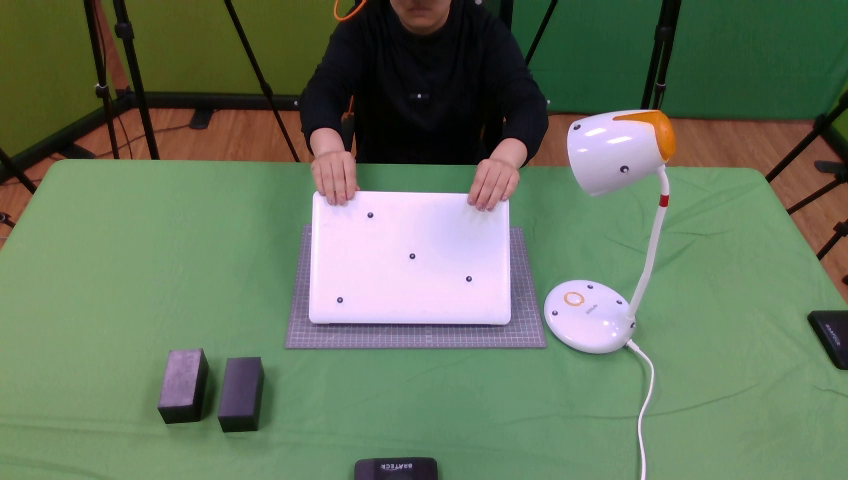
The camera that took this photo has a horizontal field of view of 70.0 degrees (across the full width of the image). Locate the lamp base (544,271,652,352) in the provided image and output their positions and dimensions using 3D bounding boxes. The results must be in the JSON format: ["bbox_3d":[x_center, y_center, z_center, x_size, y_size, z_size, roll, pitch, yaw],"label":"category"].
[{"bbox_3d":[0.310,0.086,1.029,0.178,0.181,0.160,32,52,21],"label":"lamp base"}]

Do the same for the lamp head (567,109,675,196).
[{"bbox_3d":[0.272,-0.123,0.818,0.122,0.113,0.112,-9,35,37],"label":"lamp head"}]

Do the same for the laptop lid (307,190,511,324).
[{"bbox_3d":[-0.023,0.028,1.061,0.357,0.013,0.241,2,80,-3],"label":"laptop lid"}]

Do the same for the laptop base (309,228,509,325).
[{"bbox_3d":[-0.028,0.066,1.135,0.355,0.023,0.234,1,43,-4],"label":"laptop base"}]
